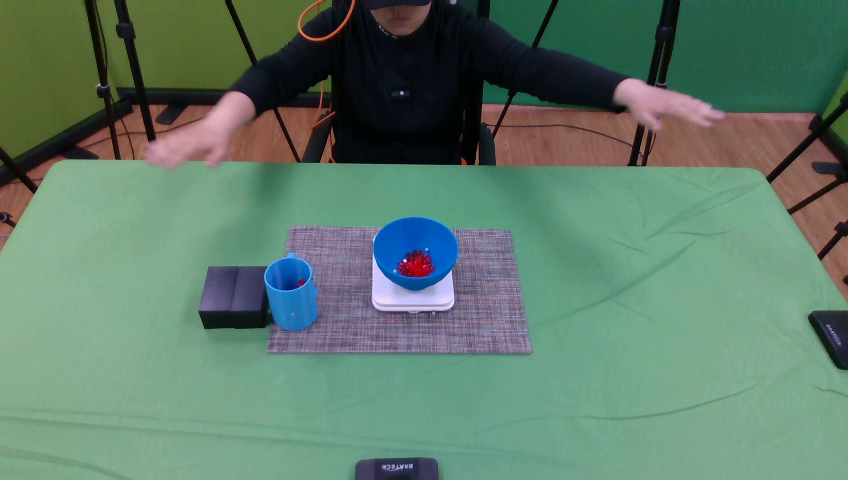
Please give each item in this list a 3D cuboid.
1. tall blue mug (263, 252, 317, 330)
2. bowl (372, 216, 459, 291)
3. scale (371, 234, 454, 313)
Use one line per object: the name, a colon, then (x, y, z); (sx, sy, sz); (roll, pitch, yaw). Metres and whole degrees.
tall blue mug: (-0.233, 0.082, 1.036); (0.078, 0.108, 0.106); (-25, 52, -24)
bowl: (-0.015, 0.036, 1.075); (0.151, 0.077, 0.150); (2, 46, -1)
scale: (-0.023, 0.050, 1.134); (0.149, 0.032, 0.199); (1, 46, -4)
